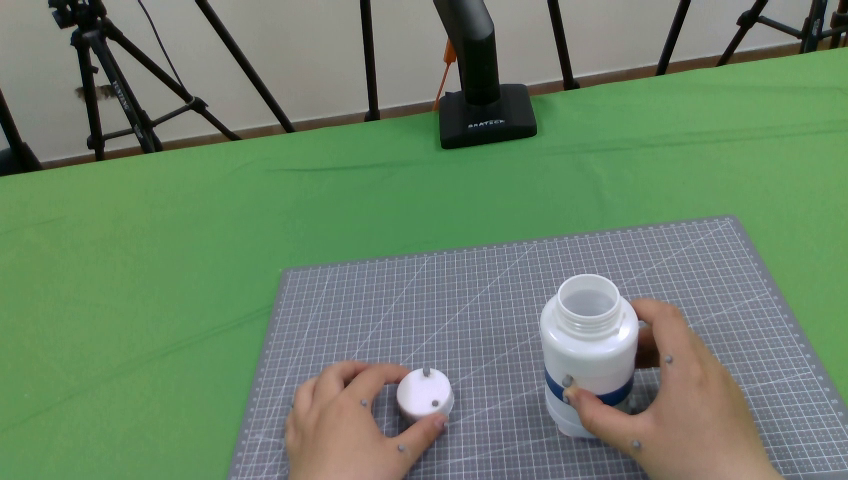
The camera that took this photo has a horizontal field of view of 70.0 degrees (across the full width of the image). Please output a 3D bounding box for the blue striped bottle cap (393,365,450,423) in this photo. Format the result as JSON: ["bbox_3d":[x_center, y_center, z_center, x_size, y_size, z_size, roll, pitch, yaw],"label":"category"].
[{"bbox_3d":[-0.002,0.120,0.476,0.044,0.021,0.044,-2,37,2],"label":"blue striped bottle cap"}]

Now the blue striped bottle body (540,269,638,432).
[{"bbox_3d":[0.113,0.075,0.417,0.063,0.122,0.062,-7,42,7],"label":"blue striped bottle body"}]
